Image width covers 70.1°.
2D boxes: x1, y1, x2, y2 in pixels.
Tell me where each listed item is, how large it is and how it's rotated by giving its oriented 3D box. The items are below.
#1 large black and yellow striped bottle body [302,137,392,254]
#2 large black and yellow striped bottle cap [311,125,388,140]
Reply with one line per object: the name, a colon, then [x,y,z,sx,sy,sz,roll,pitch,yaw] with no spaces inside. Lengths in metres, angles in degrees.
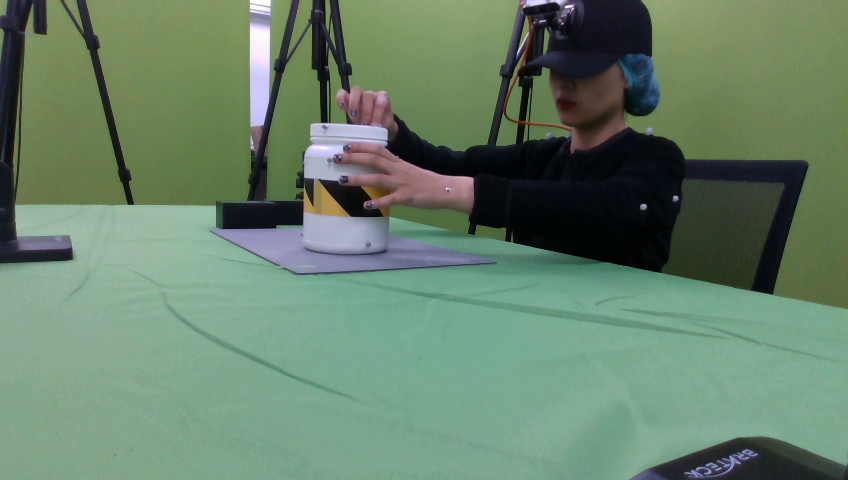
large black and yellow striped bottle body: [-0.116,-0.077,0.912,0.131,0.184,0.130,3,7,0]
large black and yellow striped bottle cap: [-0.111,-0.160,0.900,0.115,0.019,0.115,1,8,0]
